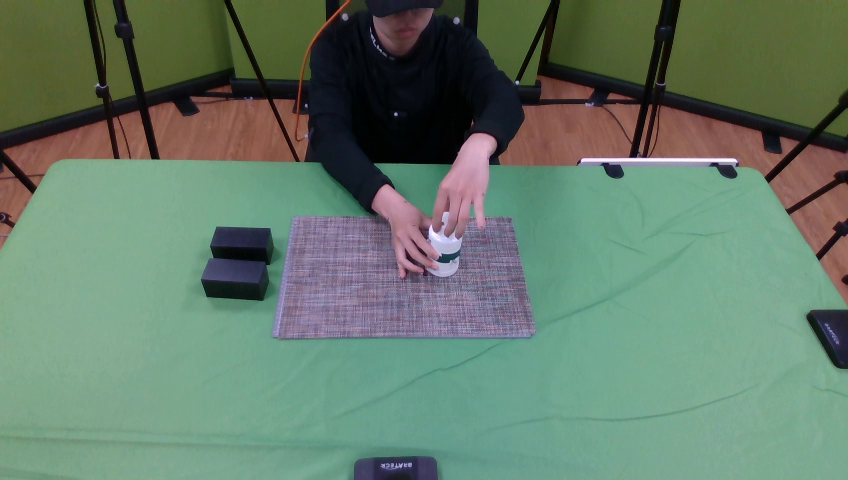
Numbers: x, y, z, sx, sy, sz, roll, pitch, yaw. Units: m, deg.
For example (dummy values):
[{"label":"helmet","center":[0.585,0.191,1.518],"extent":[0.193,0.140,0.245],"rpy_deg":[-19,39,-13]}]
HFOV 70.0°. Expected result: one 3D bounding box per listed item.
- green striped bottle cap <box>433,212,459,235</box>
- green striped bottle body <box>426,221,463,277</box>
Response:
[{"label":"green striped bottle cap","center":[0.039,-0.030,1.081],"extent":[0.044,0.020,0.044],"rpy_deg":[6,39,-5]},{"label":"green striped bottle body","center":[0.037,0.007,1.121],"extent":[0.063,0.120,0.063],"rpy_deg":[2,46,-2]}]
